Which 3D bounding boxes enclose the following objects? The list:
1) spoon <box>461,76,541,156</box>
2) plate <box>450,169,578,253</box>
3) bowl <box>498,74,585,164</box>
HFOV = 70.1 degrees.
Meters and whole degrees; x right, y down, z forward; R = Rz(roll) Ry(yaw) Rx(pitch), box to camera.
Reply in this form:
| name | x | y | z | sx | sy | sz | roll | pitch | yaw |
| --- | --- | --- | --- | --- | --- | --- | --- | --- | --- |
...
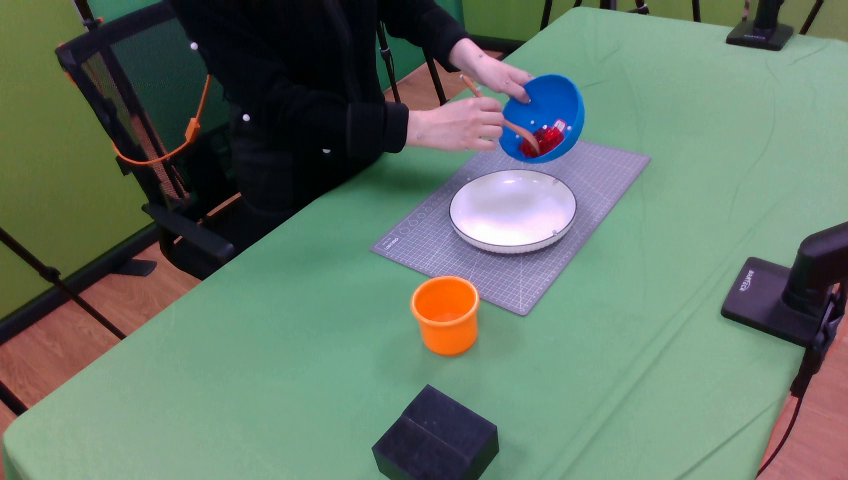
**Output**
| name | x | y | z | sx | sy | sz | roll | pitch | yaw |
| --- | --- | --- | --- | --- | --- | --- | --- | --- | --- |
| spoon | 0.123 | -0.191 | 0.942 | 0.021 | 0.195 | 0.041 | -45 | 34 | 21 |
| plate | 0.147 | -0.044 | 0.994 | 0.209 | 0.038 | 0.208 | -5 | 40 | 5 |
| bowl | 0.206 | -0.187 | 0.996 | 0.150 | 0.077 | 0.151 | -17 | 63 | 37 |
